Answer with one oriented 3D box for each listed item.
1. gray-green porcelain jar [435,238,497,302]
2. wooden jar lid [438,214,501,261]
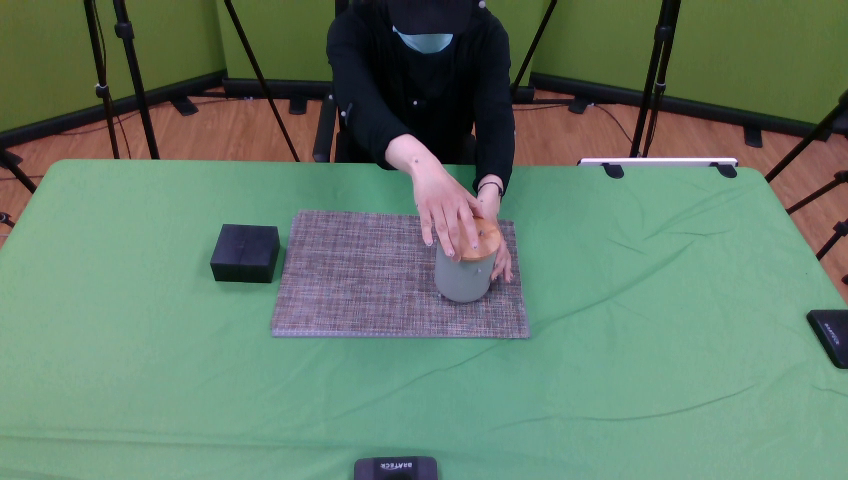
[{"bbox_3d":[0.073,0.041,1.083,0.106,0.127,0.105,2,46,-2],"label":"gray-green porcelain jar"},{"bbox_3d":[0.076,-0.003,1.025,0.108,0.021,0.107,1,42,-1],"label":"wooden jar lid"}]
